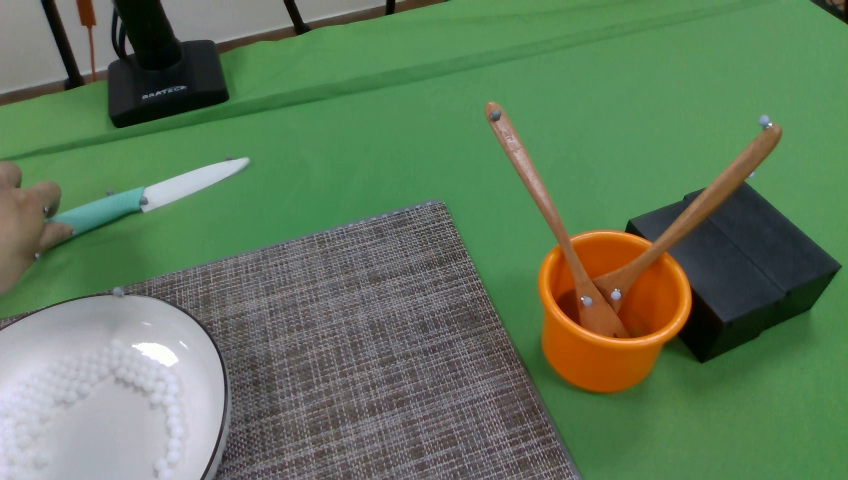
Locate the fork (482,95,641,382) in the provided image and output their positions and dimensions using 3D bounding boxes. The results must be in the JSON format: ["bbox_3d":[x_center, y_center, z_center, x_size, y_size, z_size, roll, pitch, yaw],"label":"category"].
[{"bbox_3d":[0.088,-0.001,0.396,0.028,0.018,0.208,-28,98,-6],"label":"fork"}]

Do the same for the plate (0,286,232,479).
[{"bbox_3d":[-0.221,0.123,0.379,0.209,0.038,0.207,-2,49,2],"label":"plate"}]

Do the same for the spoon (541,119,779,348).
[{"bbox_3d":[0.147,0.001,0.387,0.041,0.194,0.021,42,24,2],"label":"spoon"}]

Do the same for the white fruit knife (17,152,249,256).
[{"bbox_3d":[-0.256,-0.039,0.543,0.207,0.016,0.027,-25,81,-19],"label":"white fruit knife"}]
